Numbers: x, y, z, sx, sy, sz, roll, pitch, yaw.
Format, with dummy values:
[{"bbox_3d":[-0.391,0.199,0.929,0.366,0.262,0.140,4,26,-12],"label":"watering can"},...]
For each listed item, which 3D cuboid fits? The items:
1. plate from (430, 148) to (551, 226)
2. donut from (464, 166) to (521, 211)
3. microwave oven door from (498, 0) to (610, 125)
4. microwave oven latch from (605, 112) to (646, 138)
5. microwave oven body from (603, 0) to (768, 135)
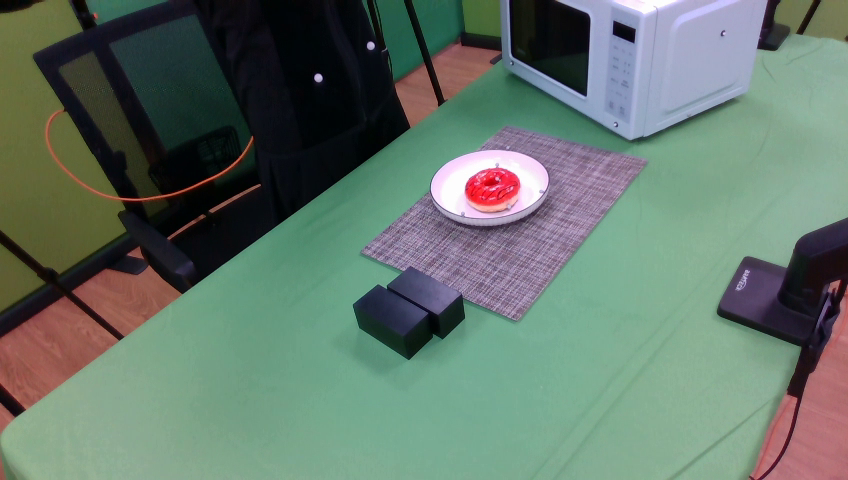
[{"bbox_3d":[0.114,-0.089,1.049,0.209,0.038,0.208,-5,40,5],"label":"plate"},{"bbox_3d":[0.117,-0.089,1.031,0.099,0.048,0.098,-7,41,7],"label":"donut"},{"bbox_3d":[0.261,-0.410,1.219,0.039,0.245,0.352,-24,42,-17],"label":"microwave oven door"},{"bbox_3d":[0.375,-0.217,1.130,0.030,0.029,0.078,-24,42,-16],"label":"microwave oven latch"},{"bbox_3d":[0.410,-0.441,1.235,0.327,0.261,0.437,-25,42,-16],"label":"microwave oven body"}]
